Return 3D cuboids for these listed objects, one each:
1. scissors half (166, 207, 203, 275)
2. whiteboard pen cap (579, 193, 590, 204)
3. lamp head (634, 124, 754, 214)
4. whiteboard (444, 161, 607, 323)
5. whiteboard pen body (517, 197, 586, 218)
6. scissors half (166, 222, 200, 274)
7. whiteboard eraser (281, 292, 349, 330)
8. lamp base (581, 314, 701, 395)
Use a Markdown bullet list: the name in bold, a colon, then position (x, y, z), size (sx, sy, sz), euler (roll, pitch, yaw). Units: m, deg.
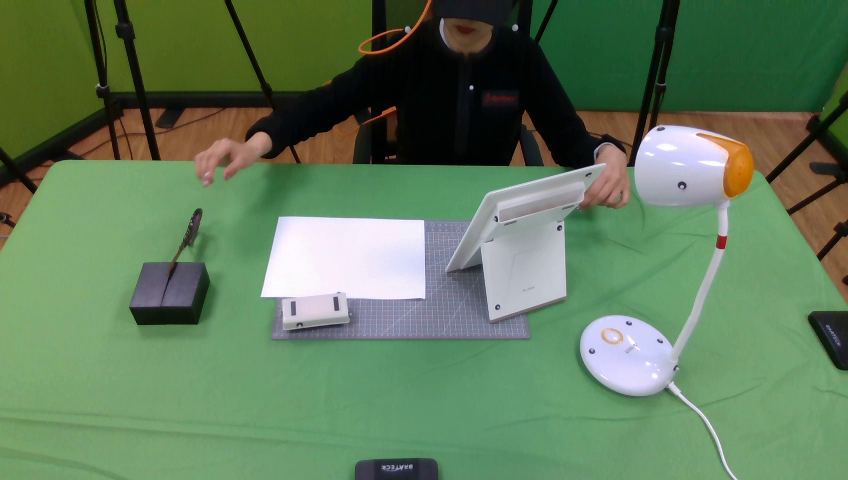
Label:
- **scissors half**: position (-0.436, 0.000, 1.104), size (0.013, 0.040, 0.174), euler (21, 45, -14)
- **whiteboard pen cap**: position (0.315, -0.082, 1.217), size (0.033, 0.018, 0.018), euler (-19, 46, 10)
- **lamp head**: position (0.351, -0.089, 0.776), size (0.112, 0.113, 0.122), euler (-30, 30, -28)
- **whiteboard**: position (0.186, 0.025, 1.029), size (0.217, 0.306, 0.143), euler (-14, 68, -18)
- **whiteboard pen body**: position (0.258, -0.068, 1.225), size (0.141, 0.017, 0.017), euler (-13, 46, 9)
- **scissors half**: position (-0.444, 0.015, 1.116), size (0.013, 0.040, 0.174), euler (17, 27, -10)
- **whiteboard eraser**: position (-0.189, 0.124, 1.045), size (0.113, 0.042, 0.055), euler (-6, 46, -10)
- **lamp base**: position (0.361, 0.144, 0.973), size (0.178, 0.181, 0.160), euler (34, 53, 23)
